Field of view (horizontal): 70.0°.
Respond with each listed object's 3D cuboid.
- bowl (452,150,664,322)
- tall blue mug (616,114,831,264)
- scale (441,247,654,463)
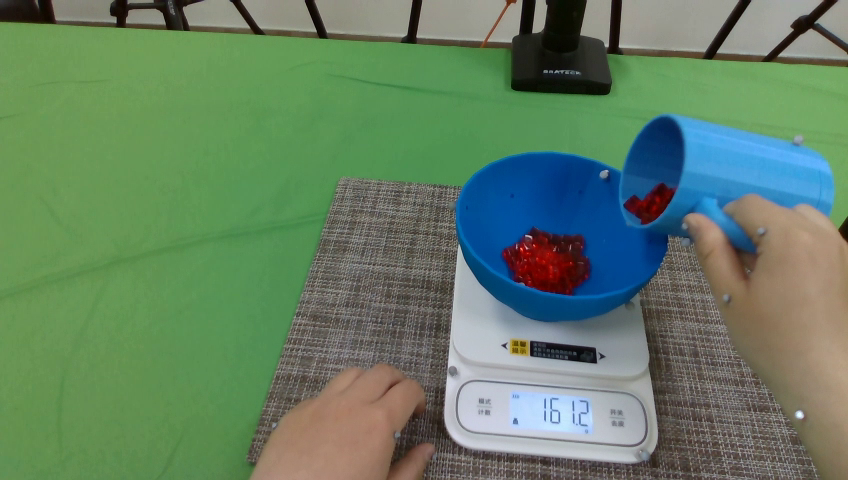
[{"bbox_3d":[0.093,0.009,0.457,0.151,0.077,0.150,1,47,-1],"label":"bowl"},{"bbox_3d":[0.200,-0.032,0.391,0.108,0.078,0.106,11,6,-13],"label":"tall blue mug"},{"bbox_3d":[0.094,0.069,0.474,0.148,0.032,0.199,4,47,4],"label":"scale"}]
